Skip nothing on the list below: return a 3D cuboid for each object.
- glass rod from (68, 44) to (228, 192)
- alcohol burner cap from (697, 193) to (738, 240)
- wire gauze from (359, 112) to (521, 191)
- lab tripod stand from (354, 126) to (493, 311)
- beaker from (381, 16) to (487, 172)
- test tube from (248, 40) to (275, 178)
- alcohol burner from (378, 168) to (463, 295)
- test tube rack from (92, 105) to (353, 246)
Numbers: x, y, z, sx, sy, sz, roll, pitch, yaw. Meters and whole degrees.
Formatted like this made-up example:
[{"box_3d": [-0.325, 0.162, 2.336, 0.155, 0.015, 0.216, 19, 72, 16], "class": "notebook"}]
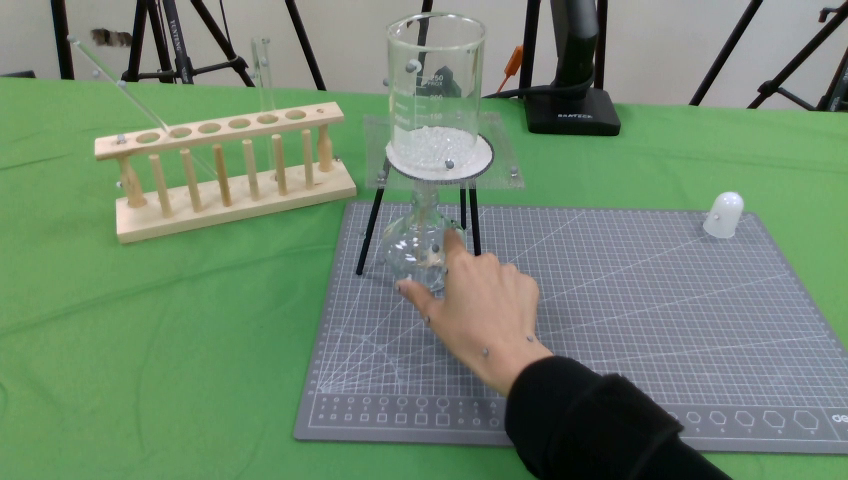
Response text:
[{"box_3d": [-0.260, -0.109, 0.590, 0.008, 0.202, 0.008, -18, 45, 20], "class": "glass rod"}, {"box_3d": [0.307, -0.027, 0.630, 0.034, 0.048, 0.033, 1, 39, -1], "class": "alcohol burner cap"}, {"box_3d": [0.008, -0.073, 0.497, 0.125, 0.011, 0.120, -4, 37, -2], "class": "wire gauze"}, {"box_3d": [0.007, -0.022, 0.538, 0.148, 0.132, 0.147, 0, 41, 0], "class": "lab tripod stand"}, {"box_3d": [0.003, -0.111, 0.466, 0.083, 0.101, 0.074, 22, 42, 25], "class": "beaker"}, {"box_3d": [-0.167, -0.132, 0.633, 0.017, 0.151, 0.017, 2, 36, -1], "class": "test tube"}, {"box_3d": [-0.003, -0.011, 0.540, 0.078, 0.120, 0.077, 1, 37, 0], "class": "alcohol burner"}, {"box_3d": [-0.203, -0.072, 0.636, 0.243, 0.086, 0.066, -14, 41, -18], "class": "test tube rack"}]
